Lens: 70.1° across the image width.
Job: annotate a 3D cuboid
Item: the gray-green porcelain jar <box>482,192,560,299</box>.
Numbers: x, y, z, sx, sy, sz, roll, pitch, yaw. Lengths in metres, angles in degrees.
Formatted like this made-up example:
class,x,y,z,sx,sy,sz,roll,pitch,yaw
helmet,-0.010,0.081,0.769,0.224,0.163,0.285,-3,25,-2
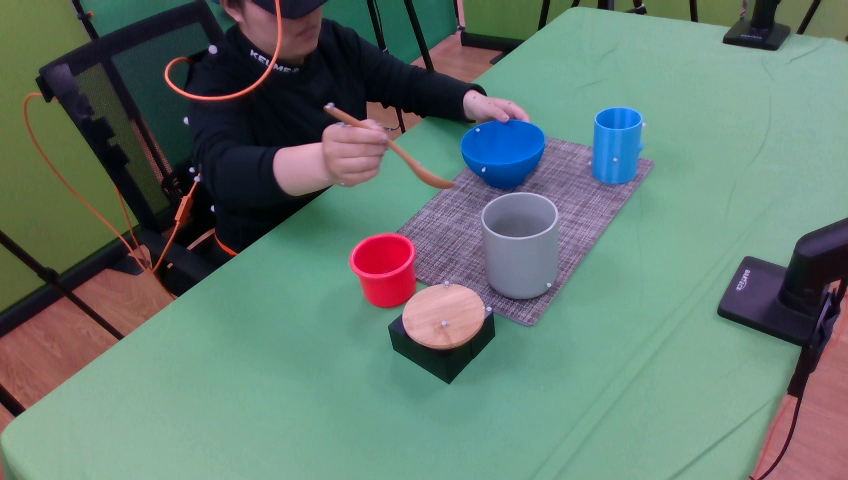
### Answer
class,x,y,z,sx,sy,sz,roll,pitch,yaw
gray-green porcelain jar,0.139,0.012,0.858,0.106,0.127,0.105,-6,40,5

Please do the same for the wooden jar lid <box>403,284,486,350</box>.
class,x,y,z,sx,sy,sz,roll,pitch,yaw
wooden jar lid,0.027,0.101,0.786,0.108,0.021,0.108,-5,39,4

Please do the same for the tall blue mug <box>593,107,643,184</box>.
class,x,y,z,sx,sy,sz,roll,pitch,yaw
tall blue mug,0.330,-0.172,1.052,0.078,0.108,0.106,-12,40,0

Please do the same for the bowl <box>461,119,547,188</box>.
class,x,y,z,sx,sy,sz,roll,pitch,yaw
bowl,0.144,-0.146,1.082,0.151,0.077,0.150,-6,40,5

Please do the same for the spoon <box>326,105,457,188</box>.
class,x,y,z,sx,sy,sz,roll,pitch,yaw
spoon,-0.037,-0.114,0.751,0.021,0.195,0.041,-61,24,-9
